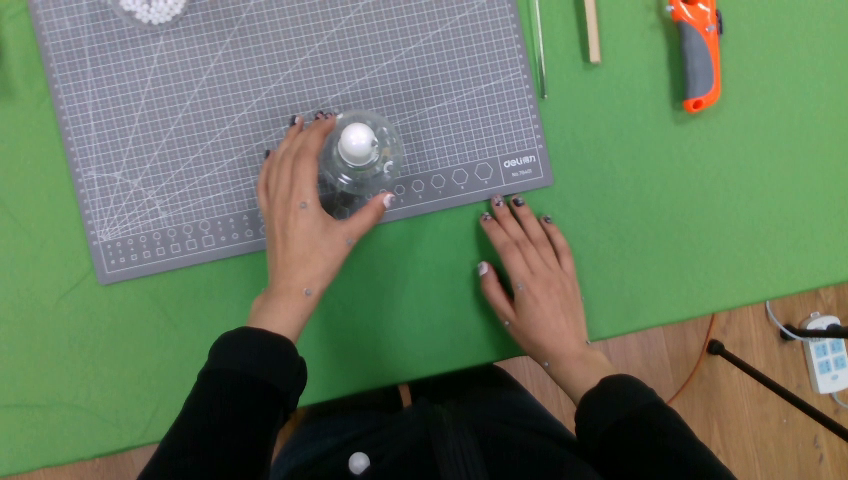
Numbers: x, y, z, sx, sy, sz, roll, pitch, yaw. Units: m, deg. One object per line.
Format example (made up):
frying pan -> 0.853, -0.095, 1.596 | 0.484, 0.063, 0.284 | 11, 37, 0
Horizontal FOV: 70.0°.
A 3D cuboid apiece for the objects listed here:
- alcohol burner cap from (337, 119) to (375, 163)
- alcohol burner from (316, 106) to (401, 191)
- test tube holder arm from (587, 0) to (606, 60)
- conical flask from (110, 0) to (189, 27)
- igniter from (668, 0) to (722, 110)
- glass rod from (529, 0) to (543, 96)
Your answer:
alcohol burner cap -> -0.055, -0.084, 0.500 | 0.034, 0.048, 0.034 | 0, 88, -9
alcohol burner -> -0.059, -0.083, 0.536 | 0.078, 0.119, 0.078 | 0, 90, -3
test tube holder arm -> 0.160, -0.268, 0.597 | 0.013, 0.015, 0.178 | -10, 93, 32
conical flask -> -0.250, -0.235, 0.510 | 0.075, 0.121, 0.075 | 0, 91, -5
igniter -> 0.267, -0.269, 0.603 | 0.057, 0.025, 0.276 | -5, 93, -15
glass rod -> 0.107, -0.243, 0.600 | 0.008, 0.008, 0.200 | -6, 95, -5
